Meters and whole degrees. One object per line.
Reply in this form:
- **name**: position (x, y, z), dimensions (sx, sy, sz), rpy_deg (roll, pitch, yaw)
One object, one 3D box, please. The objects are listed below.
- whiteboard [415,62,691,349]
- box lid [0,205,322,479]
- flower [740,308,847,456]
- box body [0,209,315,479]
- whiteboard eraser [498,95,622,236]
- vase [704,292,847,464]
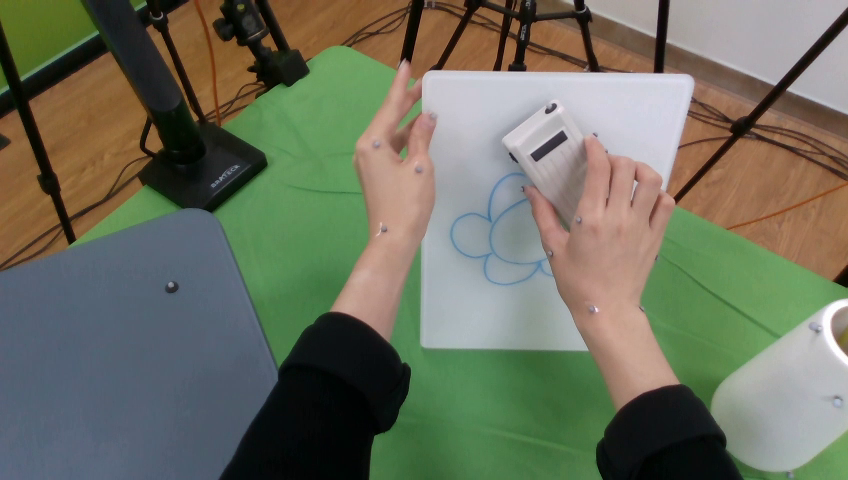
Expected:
- **whiteboard**: position (0.103, -0.050, 0.615), dimensions (0.217, 0.308, 0.142), rpy_deg (1, 36, 0)
- **box lid**: position (-0.232, 0.140, 0.432), dimensions (0.264, 0.015, 0.367), rpy_deg (-22, 58, -16)
- **flower**: position (0.327, 0.062, 0.468), dimensions (0.044, 0.364, 0.038), rpy_deg (24, 41, 19)
- **box body**: position (-0.232, 0.184, 0.492), dimensions (0.254, 0.162, 0.360), rpy_deg (-22, 59, -16)
- **whiteboard eraser**: position (0.113, -0.060, 0.500), dimensions (0.055, 0.114, 0.041), rpy_deg (-35, 28, 14)
- **vase**: position (0.323, 0.123, 0.528), dimensions (0.098, 0.202, 0.097), rpy_deg (1, 54, 0)
